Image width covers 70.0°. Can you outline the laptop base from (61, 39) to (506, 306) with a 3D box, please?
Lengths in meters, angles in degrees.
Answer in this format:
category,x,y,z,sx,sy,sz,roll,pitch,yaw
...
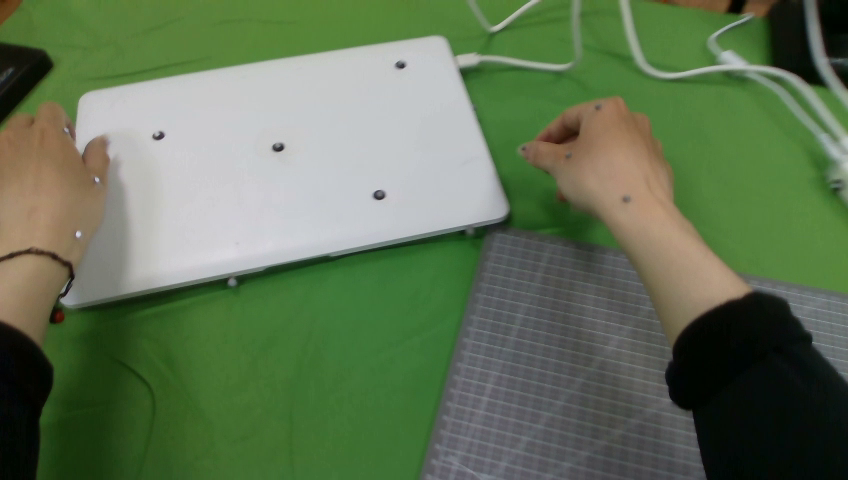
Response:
category,x,y,z,sx,sy,sz,roll,pitch,yaw
laptop base,-0.128,-0.074,0.541,0.355,0.023,0.233,-12,59,-8

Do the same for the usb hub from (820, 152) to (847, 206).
category,x,y,z,sx,sy,sz,roll,pitch,yaw
usb hub,0.386,-0.023,0.495,0.049,0.025,0.124,-13,55,-8

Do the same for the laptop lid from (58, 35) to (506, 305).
category,x,y,z,sx,sy,sz,roll,pitch,yaw
laptop lid,-0.128,-0.079,0.529,0.357,0.013,0.239,-10,58,-7
